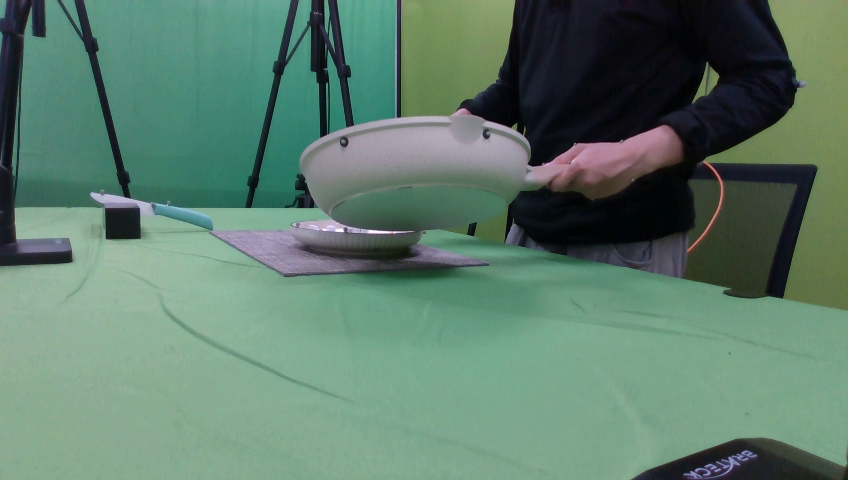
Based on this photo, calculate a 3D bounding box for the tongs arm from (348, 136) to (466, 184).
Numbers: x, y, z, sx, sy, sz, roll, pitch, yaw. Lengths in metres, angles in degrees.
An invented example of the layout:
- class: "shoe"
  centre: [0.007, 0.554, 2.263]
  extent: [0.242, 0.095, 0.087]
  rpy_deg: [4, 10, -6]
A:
- class: "tongs arm"
  centre: [-0.014, -0.149, 1.088]
  extent: [0.028, 0.028, 0.389]
  rpy_deg: [-26, 1, 35]

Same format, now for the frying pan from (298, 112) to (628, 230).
- class: "frying pan"
  centre: [0.084, -0.086, 0.810]
  extent: [0.490, 0.102, 0.306]
  rpy_deg: [-8, -8, -24]

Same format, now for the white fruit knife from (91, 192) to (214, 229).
- class: "white fruit knife"
  centre: [-0.478, -0.055, 1.077]
  extent: [0.208, 0.027, 0.016]
  rpy_deg: [14, -2, -30]

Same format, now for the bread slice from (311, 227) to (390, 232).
- class: "bread slice"
  centre: [-0.115, -0.005, 0.950]
  extent: [0.134, 0.018, 0.107]
  rpy_deg: [3, 6, -7]

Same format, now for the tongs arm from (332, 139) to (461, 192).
- class: "tongs arm"
  centre: [-0.034, -0.142, 1.103]
  extent: [0.050, 0.026, 0.386]
  rpy_deg: [-22, 4, 31]

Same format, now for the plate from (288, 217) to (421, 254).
- class: "plate"
  centre: [-0.109, -0.007, 0.956]
  extent: [0.208, 0.039, 0.207]
  rpy_deg: [2, 8, 0]
